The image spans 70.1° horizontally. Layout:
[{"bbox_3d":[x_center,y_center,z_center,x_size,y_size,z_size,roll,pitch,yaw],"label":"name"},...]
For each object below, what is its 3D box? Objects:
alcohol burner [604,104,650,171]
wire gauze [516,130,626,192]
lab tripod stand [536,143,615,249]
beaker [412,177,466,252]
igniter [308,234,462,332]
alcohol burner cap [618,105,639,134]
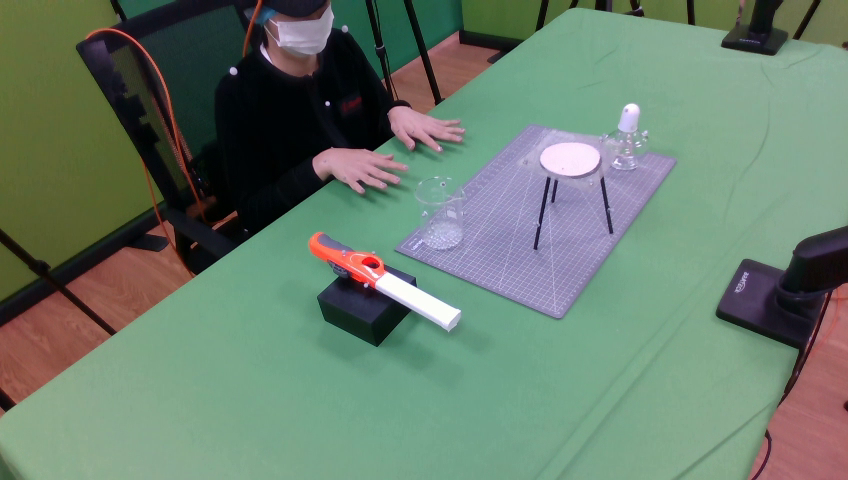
[{"bbox_3d":[0.357,-0.182,1.060,0.078,0.119,0.077,-6,40,6],"label":"alcohol burner"},{"bbox_3d":[0.216,-0.124,0.892,0.124,0.011,0.122,22,49,31],"label":"wire gauze"},{"bbox_3d":[0.224,-0.069,0.931,0.148,0.132,0.147,-4,42,4],"label":"lab tripod stand"},{"bbox_3d":[0.029,-0.038,0.952,0.083,0.101,0.074,9,43,18],"label":"beaker"},{"bbox_3d":[-0.066,0.053,0.846,0.274,0.025,0.057,26,49,29],"label":"igniter"},{"bbox_3d":[0.353,-0.208,1.036,0.034,0.048,0.033,-2,46,3],"label":"alcohol burner cap"}]
